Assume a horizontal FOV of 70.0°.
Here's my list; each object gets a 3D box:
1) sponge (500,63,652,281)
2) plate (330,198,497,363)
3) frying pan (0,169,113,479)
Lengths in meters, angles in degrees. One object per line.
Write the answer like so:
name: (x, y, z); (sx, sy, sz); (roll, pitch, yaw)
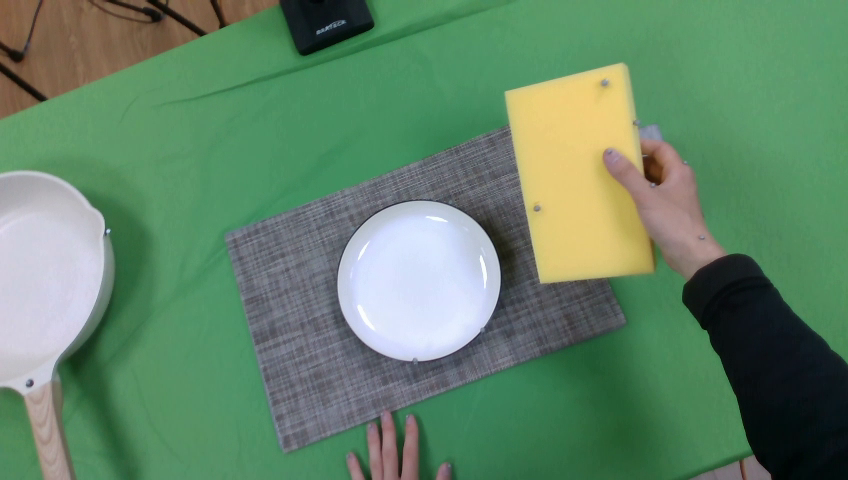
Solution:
sponge: (0.162, -0.068, 0.635); (0.118, 0.061, 0.207); (-9, 99, 24)
plate: (-0.013, 0.051, 0.762); (0.207, 0.039, 0.206); (-2, 76, 7)
frying pan: (-0.507, 0.134, 0.773); (0.307, 0.103, 0.483); (-28, 66, 0)
